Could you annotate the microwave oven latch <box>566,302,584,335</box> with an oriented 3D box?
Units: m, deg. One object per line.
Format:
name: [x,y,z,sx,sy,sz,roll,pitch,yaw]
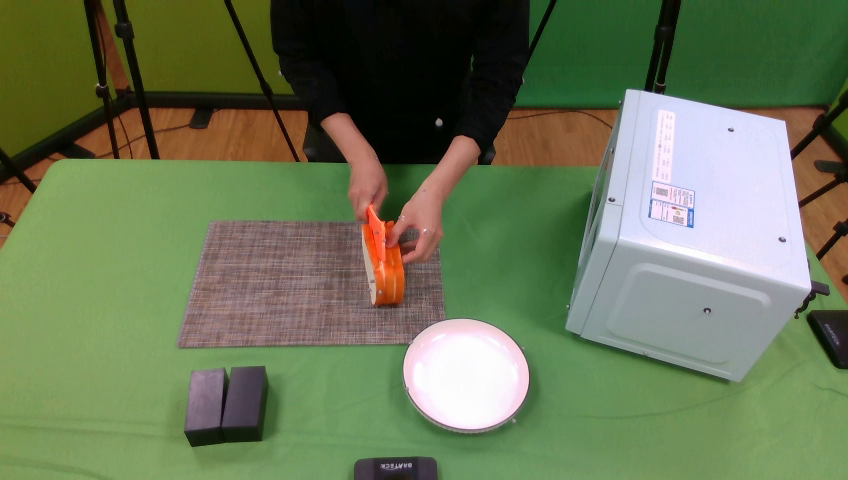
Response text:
microwave oven latch: [0.268,0.126,1.059,0.030,0.029,0.079,16,46,12]

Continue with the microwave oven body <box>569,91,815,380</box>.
microwave oven body: [0.468,-0.022,1.082,0.325,0.261,0.440,15,46,11]

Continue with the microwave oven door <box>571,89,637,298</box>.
microwave oven door: [0.343,-0.091,1.132,0.039,0.245,0.354,15,47,10]

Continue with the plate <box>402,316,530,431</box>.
plate: [0.066,0.217,0.982,0.208,0.039,0.206,2,46,-2]

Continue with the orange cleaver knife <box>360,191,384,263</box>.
orange cleaver knife: [-0.094,-0.028,1.088,0.012,0.077,0.210,-2,25,-15]

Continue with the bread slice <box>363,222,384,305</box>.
bread slice: [-0.092,0.047,1.080,0.018,0.107,0.133,-7,50,-12]
